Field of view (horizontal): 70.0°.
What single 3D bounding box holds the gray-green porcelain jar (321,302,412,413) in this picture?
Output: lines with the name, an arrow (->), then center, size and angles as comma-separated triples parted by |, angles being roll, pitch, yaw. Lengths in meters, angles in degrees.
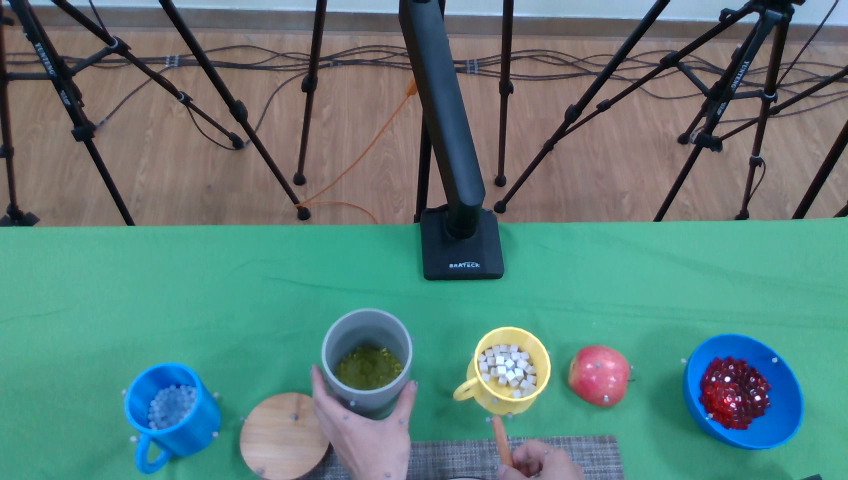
gray-green porcelain jar -> -0.071, 0.151, 0.751 | 0.106, 0.127, 0.105 | 3, 59, -4

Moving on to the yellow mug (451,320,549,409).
yellow mug -> 0.094, 0.169, 0.792 | 0.131, 0.064, 0.099 | -22, 64, -17

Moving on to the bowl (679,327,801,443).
bowl -> 0.400, 0.198, 0.798 | 0.151, 0.077, 0.150 | 2, 60, -4

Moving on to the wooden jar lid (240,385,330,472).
wooden jar lid -> -0.170, 0.234, 0.751 | 0.108, 0.021, 0.107 | 3, 56, -3

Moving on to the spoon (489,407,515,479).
spoon -> 0.104, 0.285, 0.691 | 0.041, 0.021, 0.194 | -14, 94, 14

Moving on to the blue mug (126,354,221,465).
blue mug -> -0.297, 0.205, 0.708 | 0.082, 0.106, 0.116 | 18, 60, 5

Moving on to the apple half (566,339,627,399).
apple half -> 0.235, 0.167, 0.815 | 0.074, 0.054, 0.080 | 18, 60, 8

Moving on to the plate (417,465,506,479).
plate -> 0.047, 0.365, 0.684 | 0.208, 0.039, 0.206 | 3, 60, -4
